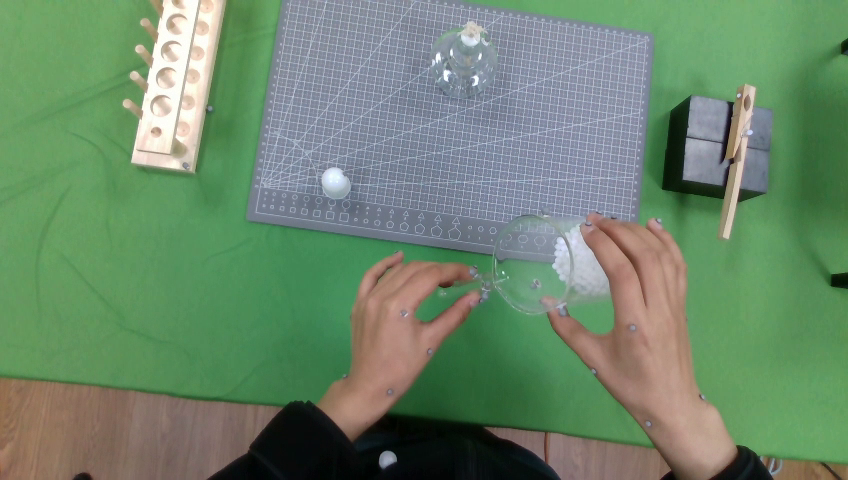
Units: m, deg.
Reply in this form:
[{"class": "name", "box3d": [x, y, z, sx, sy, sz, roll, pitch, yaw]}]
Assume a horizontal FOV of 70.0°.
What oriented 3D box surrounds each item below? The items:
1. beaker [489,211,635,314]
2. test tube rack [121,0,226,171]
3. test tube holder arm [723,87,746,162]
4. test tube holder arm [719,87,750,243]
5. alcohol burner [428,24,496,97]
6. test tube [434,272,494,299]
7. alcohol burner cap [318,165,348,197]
[{"class": "beaker", "box3d": [0.111, 0.017, 0.477, 0.101, 0.084, 0.073, -2, 71, -42]}, {"class": "test tube rack", "box3d": [-0.273, -0.206, 0.654, 0.067, 0.085, 0.241, 8, 83, -3]}, {"class": "test tube holder arm", "box3d": [0.352, -0.130, 0.687, 0.010, 0.015, 0.087, 11, 84, -1]}, {"class": "test tube holder arm", "box3d": [0.350, -0.085, 0.683, 0.013, 0.015, 0.178, 9, 84, -2]}, {"class": "alcohol burner", "box3d": [0.043, -0.204, 0.665, 0.078, 0.119, 0.077, 0, 83, -3]}, {"class": "test tube", "box3d": [0.033, 0.043, 0.551, 0.017, 0.150, 0.017, 2, 82, -13]}, {"class": "alcohol burner cap", "box3d": [-0.103, -0.067, 0.672, 0.034, 0.048, 0.034, 1, 84, -5]}]
